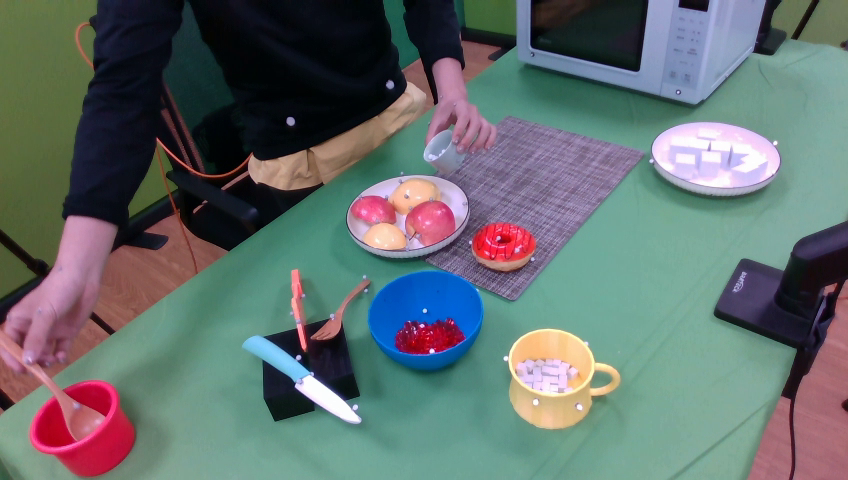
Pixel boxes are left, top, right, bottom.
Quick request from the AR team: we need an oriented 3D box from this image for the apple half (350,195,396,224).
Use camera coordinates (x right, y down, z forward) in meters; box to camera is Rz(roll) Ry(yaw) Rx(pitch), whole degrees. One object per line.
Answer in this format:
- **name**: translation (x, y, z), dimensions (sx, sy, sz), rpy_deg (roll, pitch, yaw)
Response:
- **apple half**: translation (-0.080, -0.056, 1.008), dimensions (0.081, 0.033, 0.081), rpy_deg (10, 23, -4)

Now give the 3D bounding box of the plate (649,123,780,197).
- **plate**: translation (0.497, -0.134, 1.046), dimensions (0.207, 0.039, 0.206), rpy_deg (-4, 40, 4)

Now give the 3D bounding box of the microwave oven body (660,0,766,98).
- **microwave oven body**: translation (0.472, -0.513, 1.317), dimensions (0.438, 0.261, 0.327), rpy_deg (26, 51, 34)

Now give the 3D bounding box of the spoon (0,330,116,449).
- **spoon**: translation (-0.437, 0.170, 0.707), dimensions (0.194, 0.021, 0.042), rpy_deg (49, 44, -5)

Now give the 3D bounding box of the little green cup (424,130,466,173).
- **little green cup**: translation (0.035, -0.138, 0.950), dimensions (0.061, 0.039, 0.061), rpy_deg (-31, 36, 27)

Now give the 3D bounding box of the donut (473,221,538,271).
- **donut**: translation (0.123, 0.008, 0.923), dimensions (0.099, 0.048, 0.098), rpy_deg (-3, 38, 3)

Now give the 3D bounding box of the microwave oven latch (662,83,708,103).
- **microwave oven latch**: translation (0.517, -0.296, 1.204), dimensions (0.078, 0.029, 0.030), rpy_deg (28, 52, 35)

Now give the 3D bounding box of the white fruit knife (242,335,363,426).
- **white fruit knife**: translation (-0.148, 0.167, 0.730), dimensions (0.206, 0.016, 0.027), rpy_deg (26, 79, 31)

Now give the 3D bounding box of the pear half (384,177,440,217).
- **pear half**: translation (-0.030, -0.079, 1.033), dimensions (0.109, 0.056, 0.076), rpy_deg (0, 36, 15)

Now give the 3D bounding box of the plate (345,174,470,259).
- **plate**: translation (-0.026, -0.036, 1.004), dimensions (0.209, 0.038, 0.208), rpy_deg (-4, 40, 4)

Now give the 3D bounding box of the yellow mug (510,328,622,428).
- **yellow mug**: translation (0.168, 0.164, 0.722), dimensions (0.130, 0.064, 0.099), rpy_deg (0, 40, 8)

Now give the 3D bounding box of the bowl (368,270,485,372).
- **bowl**: translation (0.007, 0.118, 0.791), dimensions (0.151, 0.077, 0.150), rpy_deg (-5, 40, 4)

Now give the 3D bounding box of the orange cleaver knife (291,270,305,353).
- **orange cleaver knife**: translation (-0.175, 0.094, 0.844), dimensions (0.012, 0.077, 0.210), rpy_deg (-11, 14, -10)

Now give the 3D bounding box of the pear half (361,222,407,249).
- **pear half**: translation (-0.063, -0.012, 0.958), dimensions (0.071, 0.031, 0.087), rpy_deg (2, 24, -25)

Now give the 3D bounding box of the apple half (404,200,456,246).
- **apple half**: translation (0.009, -0.035, 0.969), dimensions (0.075, 0.053, 0.080), rpy_deg (-27, 40, -22)

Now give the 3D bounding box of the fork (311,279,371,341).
- **fork**: translation (-0.108, 0.092, 0.832), dimensions (0.028, 0.019, 0.207), rpy_deg (-6, 19, 15)

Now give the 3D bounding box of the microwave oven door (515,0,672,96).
- **microwave oven door**: translation (0.343, -0.455, 1.259), dimensions (0.353, 0.245, 0.039), rpy_deg (26, 51, 33)
